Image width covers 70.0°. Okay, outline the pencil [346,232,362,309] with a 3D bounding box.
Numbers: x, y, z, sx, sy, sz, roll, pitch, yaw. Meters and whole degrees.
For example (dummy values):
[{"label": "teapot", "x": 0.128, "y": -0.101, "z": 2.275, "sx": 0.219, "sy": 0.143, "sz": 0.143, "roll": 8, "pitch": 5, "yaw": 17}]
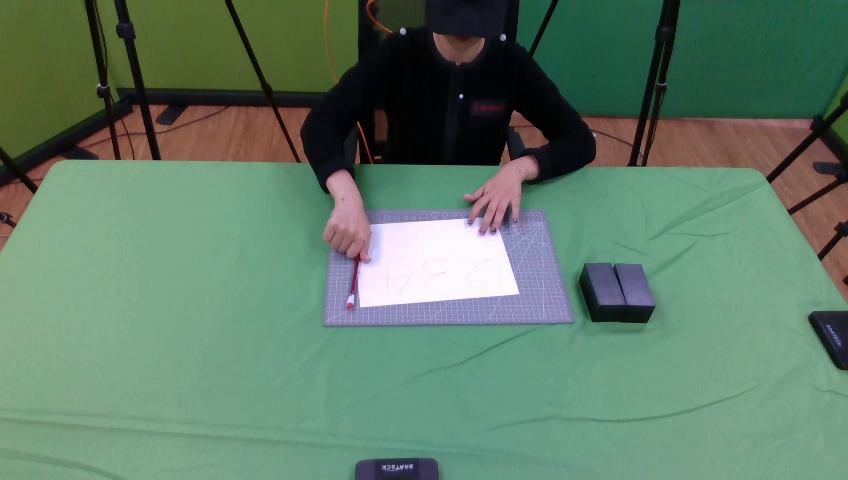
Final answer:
[{"label": "pencil", "x": -0.130, "y": 0.052, "z": 1.140, "sx": 0.012, "sy": 0.012, "sz": 0.193, "roll": 3, "pitch": 46, "yaw": 0}]
